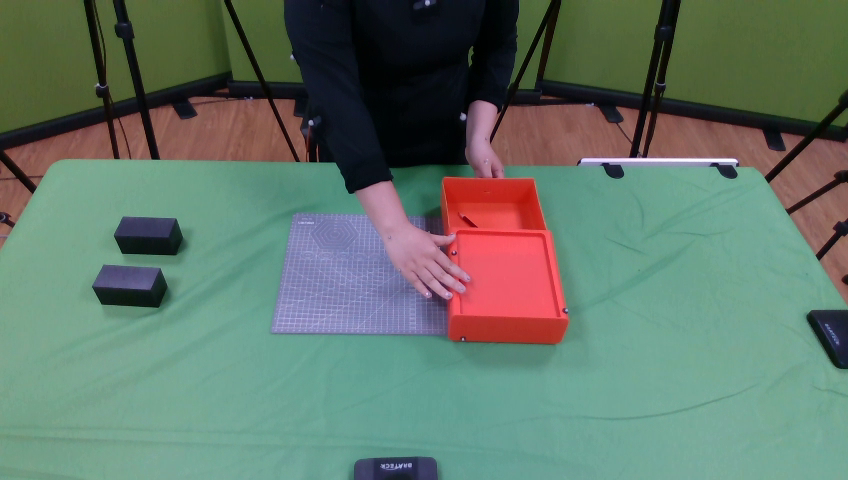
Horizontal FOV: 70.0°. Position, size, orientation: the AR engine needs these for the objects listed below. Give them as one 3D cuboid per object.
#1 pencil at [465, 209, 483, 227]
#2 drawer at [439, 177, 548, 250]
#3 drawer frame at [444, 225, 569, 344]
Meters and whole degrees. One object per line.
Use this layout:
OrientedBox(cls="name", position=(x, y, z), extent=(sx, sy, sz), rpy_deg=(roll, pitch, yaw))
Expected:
OrientedBox(cls="pencil", position=(0.133, -0.003, 1.203), extent=(0.012, 0.012, 0.193), rpy_deg=(-21, 51, -23))
OrientedBox(cls="drawer", position=(0.137, -0.033, 1.196), extent=(0.195, 0.073, 0.210), rpy_deg=(0, 46, -6))
OrientedBox(cls="drawer frame", position=(0.140, 0.076, 1.088), extent=(0.202, 0.083, 0.212), rpy_deg=(2, 46, -3))
